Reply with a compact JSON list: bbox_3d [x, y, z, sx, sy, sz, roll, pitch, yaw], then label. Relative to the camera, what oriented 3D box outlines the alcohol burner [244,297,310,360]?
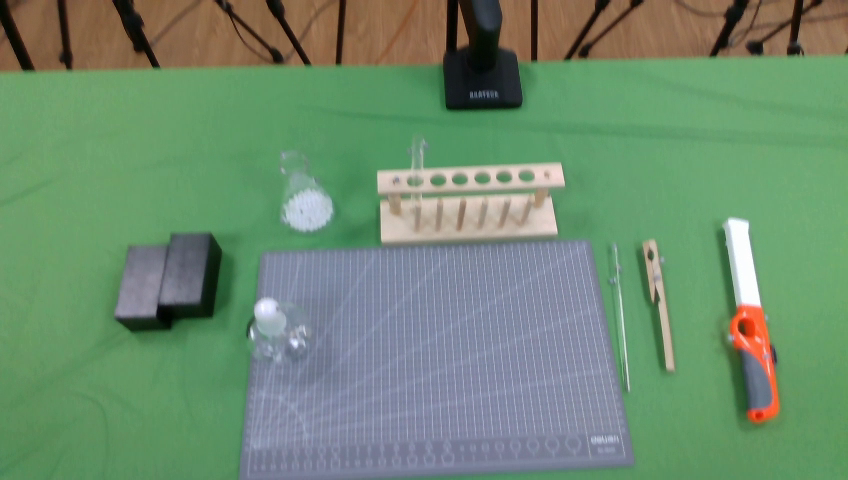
[{"bbox_3d":[-0.176,0.097,0.710,0.078,0.120,0.077,-1,61,2],"label":"alcohol burner"}]

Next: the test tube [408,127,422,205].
[{"bbox_3d":[-0.012,-0.090,0.773,0.017,0.151,0.017,1,60,-2],"label":"test tube"}]

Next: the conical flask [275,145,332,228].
[{"bbox_3d":[-0.165,-0.074,0.797,0.075,0.123,0.074,1,62,-1],"label":"conical flask"}]

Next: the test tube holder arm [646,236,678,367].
[{"bbox_3d":[0.306,0.076,0.784,0.013,0.015,0.177,-20,57,31],"label":"test tube holder arm"}]

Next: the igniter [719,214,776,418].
[{"bbox_3d":[0.412,0.090,0.775,0.057,0.025,0.274,10,63,-7],"label":"igniter"}]

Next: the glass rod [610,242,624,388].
[{"bbox_3d":[0.250,0.092,0.782,0.008,0.008,0.198,4,65,1],"label":"glass rod"}]

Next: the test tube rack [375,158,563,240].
[{"bbox_3d":[0.058,-0.053,0.811,0.242,0.086,0.066,-3,62,-2],"label":"test tube rack"}]

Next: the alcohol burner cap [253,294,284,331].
[{"bbox_3d":[-0.176,0.079,0.678,0.034,0.048,0.033,2,58,-4],"label":"alcohol burner cap"}]

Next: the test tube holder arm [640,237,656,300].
[{"bbox_3d":[0.301,0.037,0.807,0.010,0.015,0.087,-18,58,31],"label":"test tube holder arm"}]
